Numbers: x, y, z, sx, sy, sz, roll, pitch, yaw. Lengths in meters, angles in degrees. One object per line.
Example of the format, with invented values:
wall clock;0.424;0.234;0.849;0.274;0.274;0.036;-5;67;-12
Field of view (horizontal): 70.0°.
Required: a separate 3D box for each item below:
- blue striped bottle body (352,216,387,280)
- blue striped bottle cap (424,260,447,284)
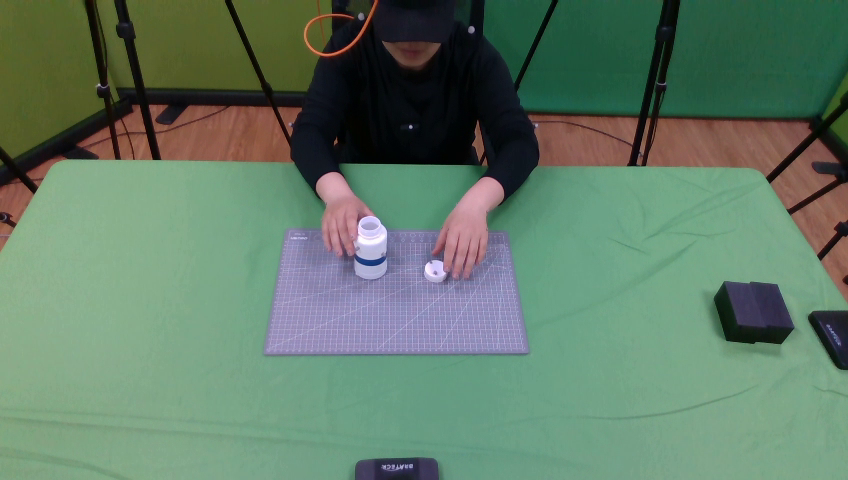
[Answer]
blue striped bottle body;-0.100;0.012;1.107;0.063;0.121;0.062;2;46;-2
blue striped bottle cap;0.022;0.060;1.145;0.044;0.021;0.044;2;47;-2
